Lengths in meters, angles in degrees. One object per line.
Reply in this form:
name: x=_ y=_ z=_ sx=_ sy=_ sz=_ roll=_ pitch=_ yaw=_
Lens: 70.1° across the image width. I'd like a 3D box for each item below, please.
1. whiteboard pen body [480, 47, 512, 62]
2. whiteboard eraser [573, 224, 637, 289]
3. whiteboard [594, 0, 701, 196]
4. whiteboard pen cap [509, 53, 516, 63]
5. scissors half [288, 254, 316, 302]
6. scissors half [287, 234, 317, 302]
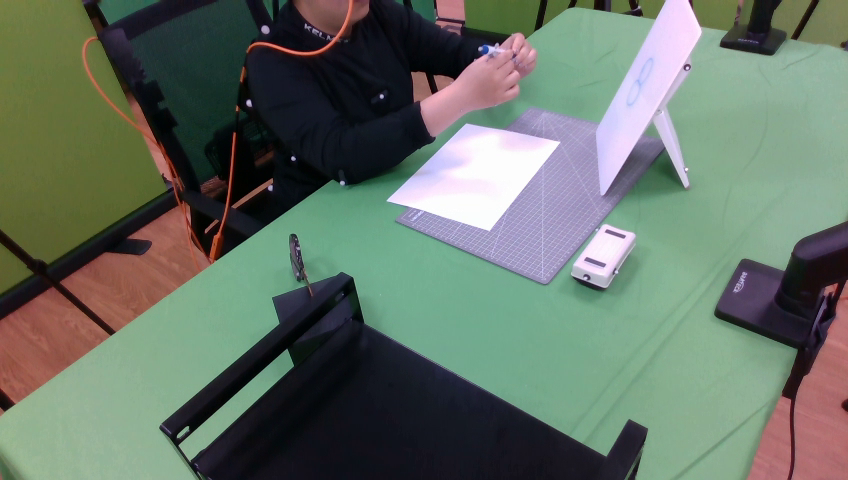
whiteboard pen body: x=0.132 y=-0.328 z=1.074 sx=0.017 sy=0.017 sz=0.141 roll=16 pitch=17 yaw=26
whiteboard eraser: x=0.267 y=0.025 z=0.891 sx=0.055 sy=0.042 sz=0.113 roll=19 pitch=47 yaw=31
whiteboard: x=0.420 y=-0.227 z=1.010 sx=0.144 sy=0.305 sz=0.216 roll=18 pitch=42 yaw=-2
whiteboard pen cap: x=0.160 y=-0.340 z=1.124 sx=0.018 sy=0.018 sz=0.033 roll=8 pitch=14 yaw=18
scissors half: x=-0.178 y=0.058 z=0.894 sx=0.013 sy=0.040 sz=0.174 roll=-16 pitch=20 yaw=-18
scissors half: x=-0.179 y=0.040 z=0.885 sx=0.013 sy=0.040 sz=0.173 roll=-11 pitch=36 yaw=-21
